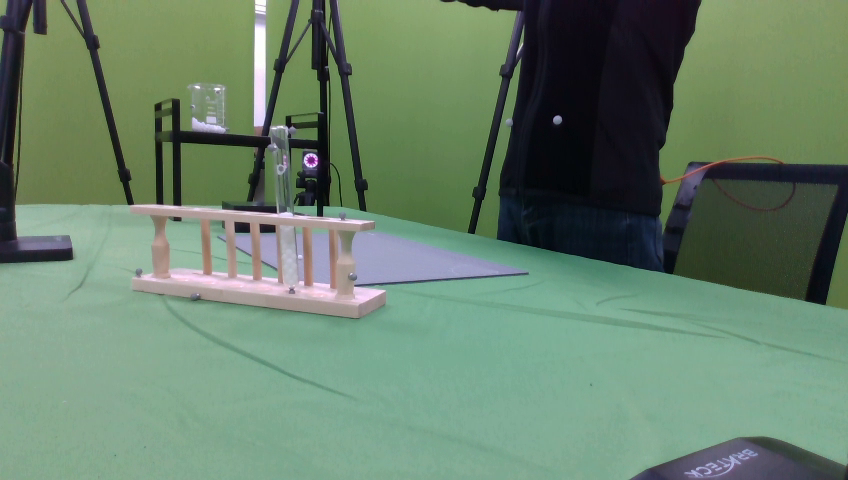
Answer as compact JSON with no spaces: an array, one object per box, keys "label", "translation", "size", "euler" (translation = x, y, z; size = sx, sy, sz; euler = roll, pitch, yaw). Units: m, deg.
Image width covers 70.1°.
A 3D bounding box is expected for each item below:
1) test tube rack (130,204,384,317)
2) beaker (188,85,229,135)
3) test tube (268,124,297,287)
[{"label":"test tube rack","translation":[-0.163,0.013,0.589],"size":[0.242,0.085,0.067],"euler":[5,8,17]},{"label":"beaker","translation":[-0.457,-0.275,1.283],"size":[0.084,0.100,0.073],"euler":[-5,9,-40]},{"label":"test tube","translation":[-0.130,-0.030,0.557],"size":[0.017,0.150,0.017],"euler":[-3,5,1]}]
